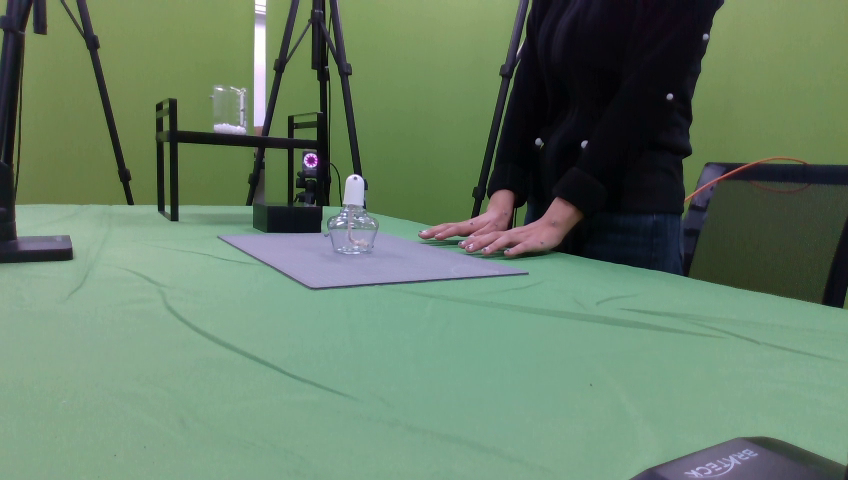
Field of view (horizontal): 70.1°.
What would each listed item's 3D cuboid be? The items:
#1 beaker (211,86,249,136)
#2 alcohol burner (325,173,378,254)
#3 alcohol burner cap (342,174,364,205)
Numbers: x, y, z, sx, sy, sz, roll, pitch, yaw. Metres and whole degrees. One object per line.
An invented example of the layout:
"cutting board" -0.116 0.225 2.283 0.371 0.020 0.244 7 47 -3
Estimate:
"beaker" -0.413 -0.274 1.297 0.074 0.100 0.083 -5 11 -44
"alcohol burner" -0.107 -0.040 0.896 0.078 0.119 0.078 1 5 0
"alcohol burner cap" -0.104 -0.074 0.892 0.034 0.048 0.034 4 3 0
